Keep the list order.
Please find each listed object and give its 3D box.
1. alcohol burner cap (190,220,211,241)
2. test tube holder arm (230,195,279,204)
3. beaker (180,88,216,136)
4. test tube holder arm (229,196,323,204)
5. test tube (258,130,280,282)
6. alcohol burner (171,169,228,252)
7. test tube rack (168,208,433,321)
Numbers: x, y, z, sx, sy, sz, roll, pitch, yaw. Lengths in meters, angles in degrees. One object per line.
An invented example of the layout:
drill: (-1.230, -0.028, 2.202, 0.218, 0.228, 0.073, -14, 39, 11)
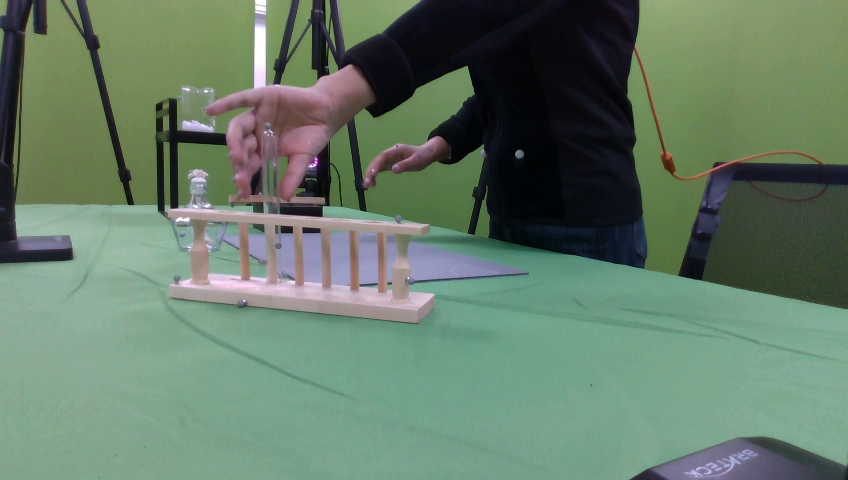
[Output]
alcohol burner cap: (-0.365, -0.023, 0.988, 0.034, 0.048, 0.034, 1, 7, 0)
test tube holder arm: (-0.311, -0.075, 1.115, 0.088, 0.015, 0.010, -2, 1, -31)
beaker: (-0.498, -0.283, 1.339, 0.074, 0.100, 0.083, -2, 9, -28)
test tube holder arm: (-0.276, -0.076, 1.143, 0.179, 0.015, 0.013, -2, 1, -32)
test tube: (-0.153, -0.032, 0.596, 0.017, 0.150, 0.017, 0, 9, 0)
alcohol burner: (-0.325, -0.043, 0.874, 0.078, 0.119, 0.078, 0, 6, 0)
test tube rack: (-0.115, 0.017, 0.574, 0.242, 0.085, 0.067, 4, 8, 13)
